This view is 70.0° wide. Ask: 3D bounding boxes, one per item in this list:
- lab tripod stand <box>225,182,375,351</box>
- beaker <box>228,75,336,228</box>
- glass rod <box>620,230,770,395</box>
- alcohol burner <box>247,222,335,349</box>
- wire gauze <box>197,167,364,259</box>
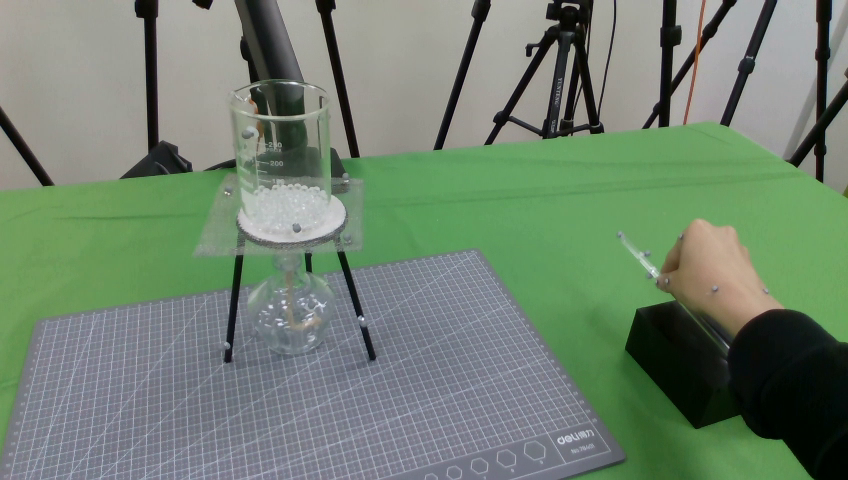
[{"bbox_3d":[-0.107,0.028,0.533,0.148,0.132,0.147,4,34,-2],"label":"lab tripod stand"},{"bbox_3d":[-0.110,-0.067,0.468,0.083,0.101,0.074,21,38,22],"label":"beaker"},{"bbox_3d":[0.233,0.056,0.536,0.008,0.008,0.197,-11,46,-20],"label":"glass rod"},{"bbox_3d":[-0.118,0.037,0.535,0.078,0.120,0.077,1,33,-1],"label":"alcohol burner"},{"bbox_3d":[-0.110,-0.026,0.494,0.121,0.011,0.124,0,37,-5],"label":"wire gauze"}]
